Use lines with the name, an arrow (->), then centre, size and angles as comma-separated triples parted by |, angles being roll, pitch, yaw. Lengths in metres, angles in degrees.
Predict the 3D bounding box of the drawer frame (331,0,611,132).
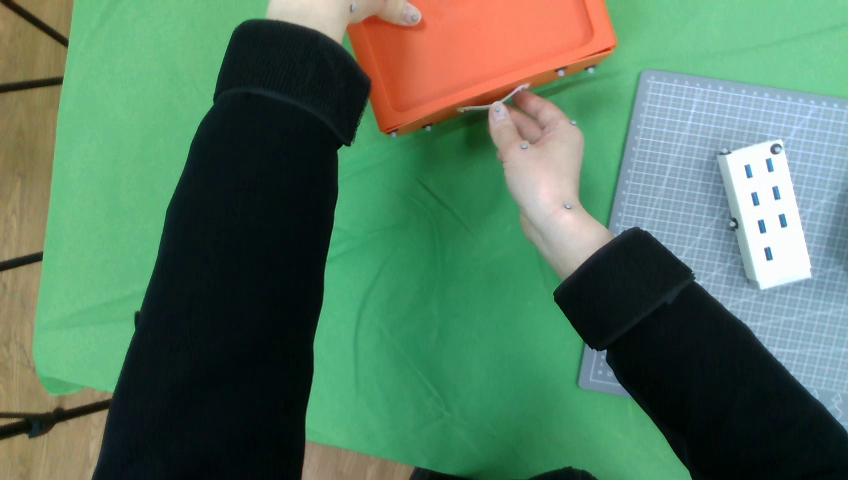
drawer frame -> 0.021, -0.223, 0.504 | 0.201, 0.082, 0.214 | -19, 95, 7

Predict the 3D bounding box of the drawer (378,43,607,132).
drawer -> 0.024, -0.220, 0.507 | 0.194, 0.073, 0.212 | -19, 95, 8

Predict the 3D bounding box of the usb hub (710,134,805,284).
usb hub -> 0.296, -0.028, 0.537 | 0.049, 0.025, 0.125 | -17, 97, 5
